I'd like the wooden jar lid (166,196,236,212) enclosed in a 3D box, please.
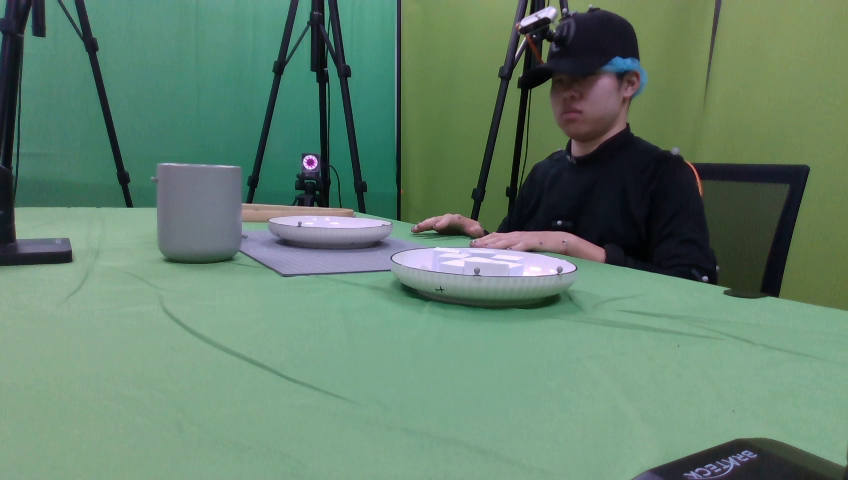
[{"bbox_3d":[-0.369,-0.059,1.001,0.108,0.020,0.108,3,6,0],"label":"wooden jar lid"}]

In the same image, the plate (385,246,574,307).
[{"bbox_3d":[0.060,0.041,0.678,0.208,0.039,0.207,3,7,0],"label":"plate"}]

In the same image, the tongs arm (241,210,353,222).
[{"bbox_3d":[-0.337,-0.054,1.329,0.389,0.028,0.028,-1,6,-27],"label":"tongs arm"}]

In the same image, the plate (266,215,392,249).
[{"bbox_3d":[-0.159,-0.015,1.019,0.209,0.038,0.209,3,7,0],"label":"plate"}]

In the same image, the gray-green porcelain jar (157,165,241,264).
[{"bbox_3d":[-0.300,-0.036,0.811,0.106,0.126,0.106,2,8,0],"label":"gray-green porcelain jar"}]

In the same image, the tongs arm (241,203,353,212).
[{"bbox_3d":[-0.361,-0.069,1.406,0.386,0.026,0.050,1,8,-14],"label":"tongs arm"}]
